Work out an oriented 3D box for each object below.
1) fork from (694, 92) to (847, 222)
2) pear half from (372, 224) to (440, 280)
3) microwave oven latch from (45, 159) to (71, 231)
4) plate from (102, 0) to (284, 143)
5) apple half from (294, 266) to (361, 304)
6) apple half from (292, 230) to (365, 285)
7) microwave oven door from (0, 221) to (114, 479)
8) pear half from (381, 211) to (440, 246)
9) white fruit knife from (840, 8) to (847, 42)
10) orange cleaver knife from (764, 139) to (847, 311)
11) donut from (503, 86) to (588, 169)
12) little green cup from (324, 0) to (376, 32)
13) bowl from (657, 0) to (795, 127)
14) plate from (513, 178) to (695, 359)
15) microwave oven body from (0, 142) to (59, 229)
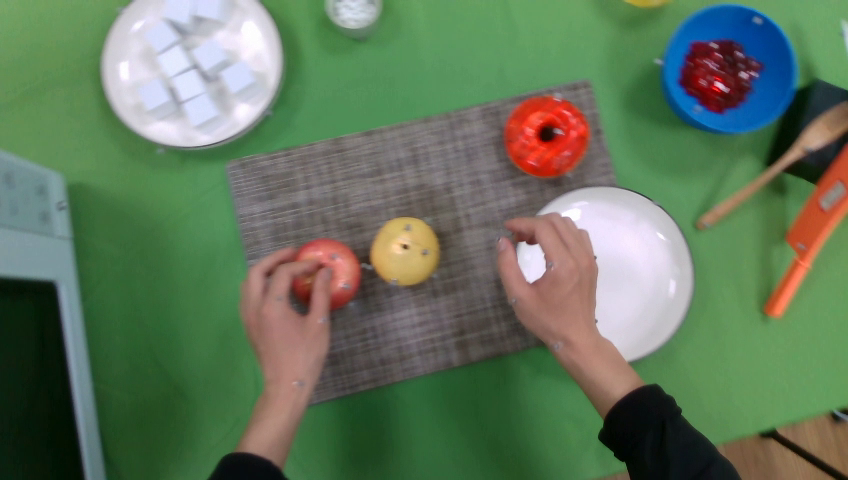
[{"bbox_3d":[0.401,-0.090,0.699,0.207,0.018,0.028,-43,94,16],"label":"fork"},{"bbox_3d":[-0.023,0.016,0.665,0.076,0.110,0.056,15,84,4],"label":"pear half"},{"bbox_3d":[-0.421,-0.049,0.681,0.030,0.029,0.079,-10,86,-3],"label":"microwave oven latch"},{"bbox_3d":[-0.267,-0.213,0.716,0.208,0.039,0.207,0,85,-1],"label":"plate"},{"bbox_3d":[-0.103,0.055,0.677,0.081,0.081,0.032,-18,82,-3],"label":"apple half"},{"bbox_3d":[-0.111,0.017,0.682,0.081,0.075,0.053,-20,84,6],"label":"apple half"},{"bbox_3d":[-0.380,0.156,0.564,0.039,0.244,0.355,-11,85,-2],"label":"microwave oven door"},{"bbox_3d":[-0.012,-0.017,0.677,0.070,0.088,0.031,14,85,5],"label":"pear half"},{"bbox_3d":[0.507,-0.169,0.694,0.027,0.016,0.207,-9,83,-31],"label":"white fruit knife"},{"bbox_3d":[0.445,-0.017,0.696,0.012,0.076,0.212,18,115,-2],"label":"orange cleaver knife"},{"bbox_3d":[0.142,-0.132,0.713,0.099,0.048,0.099,0,87,2],"label":"donut"},{"bbox_3d":[-0.087,-0.282,0.726,0.061,0.038,0.061,0,85,-1],"label":"little green cup"},{"bbox_3d":[0.338,-0.199,0.710,0.151,0.077,0.151,0,86,-1],"label":"bowl"},{"bbox_3d":[0.206,0.032,0.705,0.209,0.038,0.208,0,86,-2],"label":"plate"},{"bbox_3d":[-0.531,0.143,0.567,0.326,0.260,0.440,-11,86,-3],"label":"microwave oven body"}]
